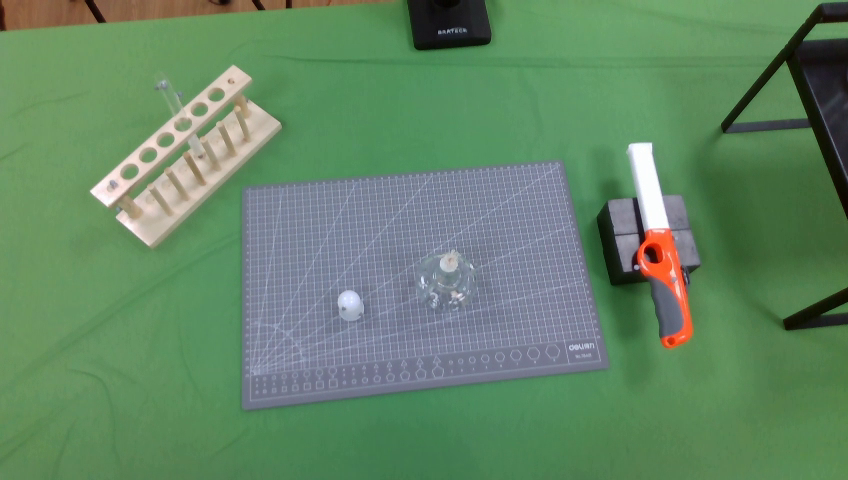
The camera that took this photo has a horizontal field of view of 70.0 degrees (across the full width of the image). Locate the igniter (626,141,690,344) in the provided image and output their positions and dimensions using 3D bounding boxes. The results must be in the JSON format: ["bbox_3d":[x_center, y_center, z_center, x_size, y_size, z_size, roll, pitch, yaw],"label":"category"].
[{"bbox_3d":[0.292,-0.005,0.761,0.057,0.025,0.274,-2,66,0],"label":"igniter"}]

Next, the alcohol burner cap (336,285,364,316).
[{"bbox_3d":[-0.093,0.073,0.753,0.034,0.048,0.033,0,68,0],"label":"alcohol burner cap"}]

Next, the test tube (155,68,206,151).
[{"bbox_3d":[-0.304,-0.160,0.763,0.017,0.151,0.017,1,63,-1],"label":"test tube"}]

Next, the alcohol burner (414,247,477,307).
[{"bbox_3d":[0.027,0.039,0.733,0.078,0.120,0.077,1,66,-3],"label":"alcohol burner"}]

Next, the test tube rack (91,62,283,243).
[{"bbox_3d":[-0.302,-0.116,0.799,0.066,0.086,0.242,37,71,13],"label":"test tube rack"}]
